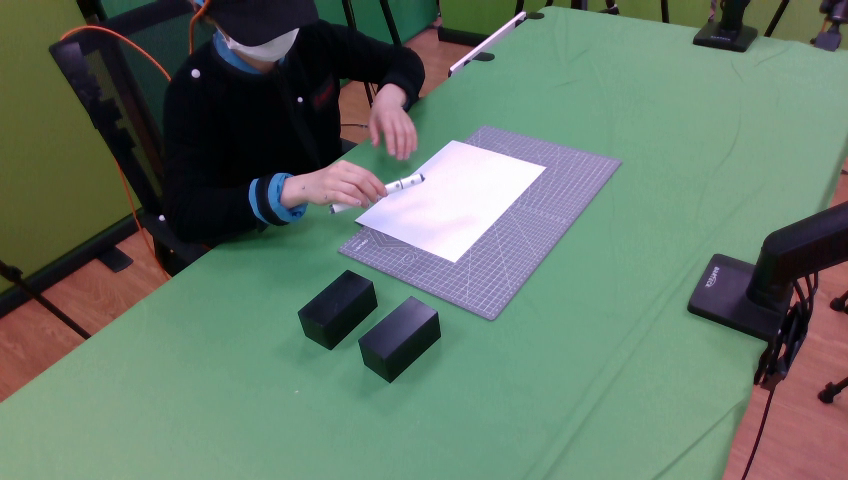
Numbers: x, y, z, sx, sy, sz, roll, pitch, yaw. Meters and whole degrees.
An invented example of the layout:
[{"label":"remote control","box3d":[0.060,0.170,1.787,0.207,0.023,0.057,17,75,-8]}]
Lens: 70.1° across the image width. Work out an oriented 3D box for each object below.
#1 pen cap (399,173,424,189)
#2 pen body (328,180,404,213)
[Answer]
[{"label":"pen cap","box3d":[-0.019,-0.093,0.935,0.038,0.017,0.017,-19,42,-12]},{"label":"pen body","box3d":[-0.076,-0.072,0.922,0.144,0.017,0.017,-20,42,-12]}]
